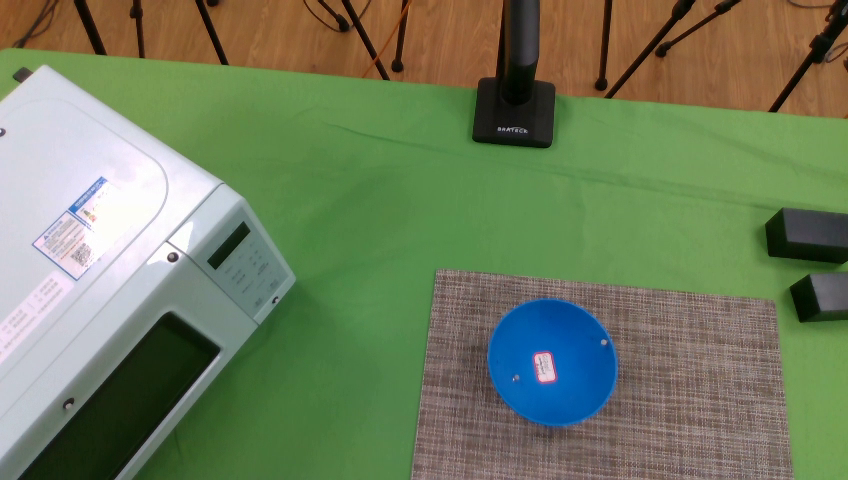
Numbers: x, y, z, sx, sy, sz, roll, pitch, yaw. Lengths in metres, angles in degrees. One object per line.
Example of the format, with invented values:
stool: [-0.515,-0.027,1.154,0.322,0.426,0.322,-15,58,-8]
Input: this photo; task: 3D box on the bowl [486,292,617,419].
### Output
bowl: [0.148,0.146,0.737,0.151,0.077,0.150,-1,67,2]

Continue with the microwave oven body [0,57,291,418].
microwave oven body: [-0.428,0.078,0.683,0.324,0.262,0.440,32,72,14]

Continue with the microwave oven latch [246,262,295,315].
microwave oven latch: [-0.202,0.058,0.791,0.030,0.030,0.079,34,73,14]

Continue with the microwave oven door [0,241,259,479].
microwave oven door: [-0.333,0.183,0.631,0.039,0.245,0.355,32,71,15]
